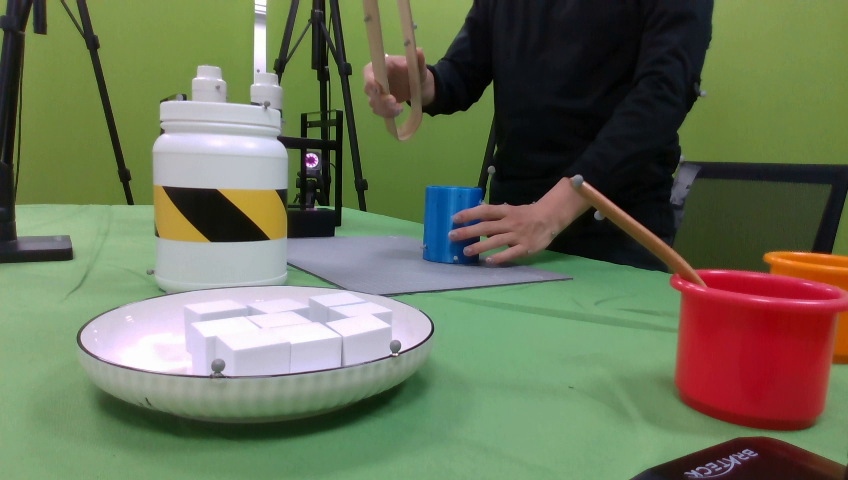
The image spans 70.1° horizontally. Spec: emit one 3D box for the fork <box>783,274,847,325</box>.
[{"bbox_3d":[0.332,0.018,0.444,0.028,0.018,0.207,-2,-35,-15],"label":"fork"}]

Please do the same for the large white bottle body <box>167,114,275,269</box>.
[{"bbox_3d":[-0.256,-0.063,0.771,0.131,0.184,0.130,2,7,0],"label":"large white bottle body"}]

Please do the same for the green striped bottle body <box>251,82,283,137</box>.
[{"bbox_3d":[-0.317,-0.270,1.220,0.063,0.119,0.063,2,7,0],"label":"green striped bottle body"}]

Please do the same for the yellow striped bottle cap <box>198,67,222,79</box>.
[{"bbox_3d":[-0.411,-0.320,1.163,0.044,0.018,0.044,1,6,0],"label":"yellow striped bottle cap"}]

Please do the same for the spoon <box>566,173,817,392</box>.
[{"bbox_3d":[0.161,0.024,0.370,0.193,0.021,0.042,47,18,3],"label":"spoon"}]

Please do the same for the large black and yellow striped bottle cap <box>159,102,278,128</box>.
[{"bbox_3d":[-0.207,-0.125,0.615,0.115,0.019,0.115,2,6,0],"label":"large black and yellow striped bottle cap"}]

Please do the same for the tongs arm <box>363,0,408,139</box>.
[{"bbox_3d":[-0.051,-0.225,0.823,0.027,0.028,0.388,38,-11,11],"label":"tongs arm"}]

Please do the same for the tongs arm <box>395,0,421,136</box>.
[{"bbox_3d":[-0.032,-0.243,0.828,0.026,0.051,0.385,41,-7,12],"label":"tongs arm"}]

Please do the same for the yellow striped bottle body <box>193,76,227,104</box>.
[{"bbox_3d":[-0.414,-0.268,1.169,0.063,0.120,0.063,2,7,0],"label":"yellow striped bottle body"}]

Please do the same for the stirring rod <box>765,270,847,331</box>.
[{"bbox_3d":[0.352,0.020,0.484,0.176,0.006,0.014,-40,-7,13],"label":"stirring rod"}]

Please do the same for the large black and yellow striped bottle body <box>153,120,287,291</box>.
[{"bbox_3d":[-0.208,-0.043,0.626,0.131,0.184,0.130,2,7,0],"label":"large black and yellow striped bottle body"}]

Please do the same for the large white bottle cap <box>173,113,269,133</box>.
[{"bbox_3d":[-0.254,-0.146,0.760,0.115,0.018,0.115,2,7,0],"label":"large white bottle cap"}]

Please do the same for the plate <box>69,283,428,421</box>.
[{"bbox_3d":[-0.102,0.066,0.381,0.208,0.039,0.207,2,7,0],"label":"plate"}]

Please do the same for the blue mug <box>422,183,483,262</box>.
[{"bbox_3d":[0.032,-0.028,0.877,0.083,0.106,0.116,-2,8,-31],"label":"blue mug"}]

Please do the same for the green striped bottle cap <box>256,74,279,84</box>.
[{"bbox_3d":[-0.314,-0.322,1.214,0.044,0.020,0.044,1,8,0],"label":"green striped bottle cap"}]
